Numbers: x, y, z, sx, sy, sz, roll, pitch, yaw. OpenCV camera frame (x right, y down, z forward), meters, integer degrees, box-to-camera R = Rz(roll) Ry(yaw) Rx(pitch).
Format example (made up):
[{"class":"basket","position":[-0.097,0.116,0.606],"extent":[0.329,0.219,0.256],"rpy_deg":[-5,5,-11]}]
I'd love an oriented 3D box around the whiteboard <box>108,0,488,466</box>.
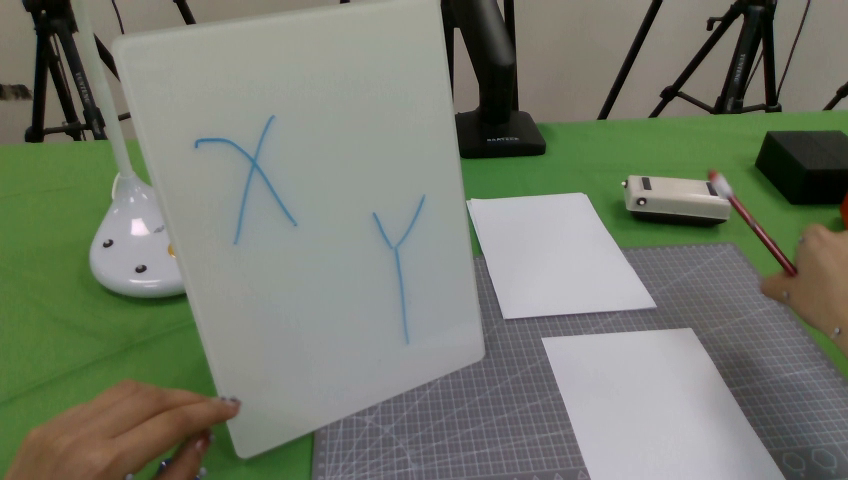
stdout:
[{"class":"whiteboard","position":[-0.091,-0.021,0.496],"extent":[0.218,0.307,0.142],"rpy_deg":[-17,21,-21]}]

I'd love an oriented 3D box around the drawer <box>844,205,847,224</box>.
[{"class":"drawer","position":[0.549,0.019,0.595],"extent":[0.194,0.074,0.210],"rpy_deg":[11,37,15]}]

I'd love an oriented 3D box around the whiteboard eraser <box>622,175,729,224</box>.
[{"class":"whiteboard eraser","position":[0.293,-0.047,0.711],"extent":[0.112,0.042,0.055],"rpy_deg":[6,39,7]}]

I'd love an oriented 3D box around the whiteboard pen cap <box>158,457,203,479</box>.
[{"class":"whiteboard pen cap","position":[-0.172,0.170,0.431],"extent":[0.033,0.018,0.018],"rpy_deg":[22,42,30]}]

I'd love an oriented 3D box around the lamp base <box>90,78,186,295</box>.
[{"class":"lamp base","position":[-0.277,-0.062,0.604],"extent":[0.178,0.182,0.160],"rpy_deg":[22,42,29]}]

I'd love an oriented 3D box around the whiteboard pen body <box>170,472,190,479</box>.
[{"class":"whiteboard pen body","position":[-0.125,0.191,0.404],"extent":[0.139,0.017,0.017],"rpy_deg":[22,42,27]}]

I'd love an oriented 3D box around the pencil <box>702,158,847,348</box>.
[{"class":"pencil","position":[0.301,0.007,0.523],"extent":[0.012,0.012,0.192],"rpy_deg":[-20,70,-25]}]

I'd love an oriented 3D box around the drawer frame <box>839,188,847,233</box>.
[{"class":"drawer frame","position":[0.550,0.015,0.597],"extent":[0.201,0.083,0.212],"rpy_deg":[10,37,14]}]
